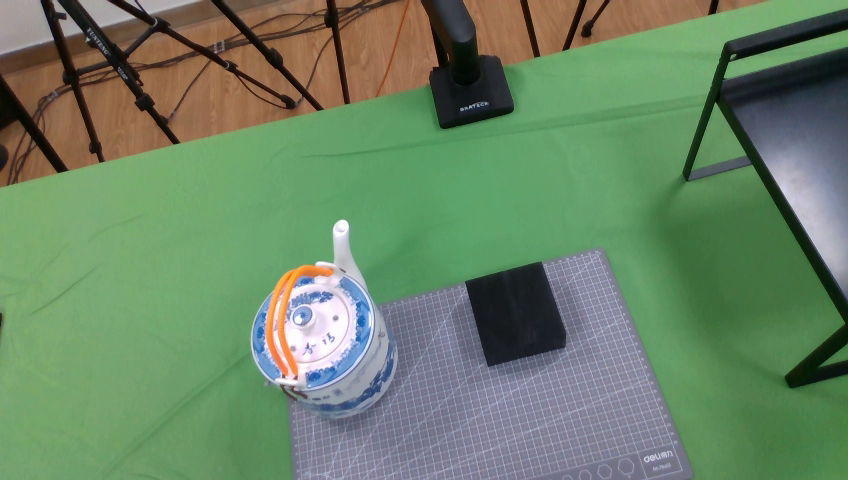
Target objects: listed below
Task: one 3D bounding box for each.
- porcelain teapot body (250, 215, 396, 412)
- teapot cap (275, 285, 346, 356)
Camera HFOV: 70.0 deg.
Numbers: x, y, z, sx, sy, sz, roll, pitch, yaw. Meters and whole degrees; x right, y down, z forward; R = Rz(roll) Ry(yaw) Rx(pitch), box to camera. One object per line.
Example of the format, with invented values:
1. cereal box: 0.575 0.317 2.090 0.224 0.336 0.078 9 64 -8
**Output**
1. porcelain teapot body: -0.116 0.078 0.707 0.145 0.227 0.204 5 63 13
2. teapot cap: -0.128 0.085 0.660 0.085 0.044 0.084 -6 58 11
